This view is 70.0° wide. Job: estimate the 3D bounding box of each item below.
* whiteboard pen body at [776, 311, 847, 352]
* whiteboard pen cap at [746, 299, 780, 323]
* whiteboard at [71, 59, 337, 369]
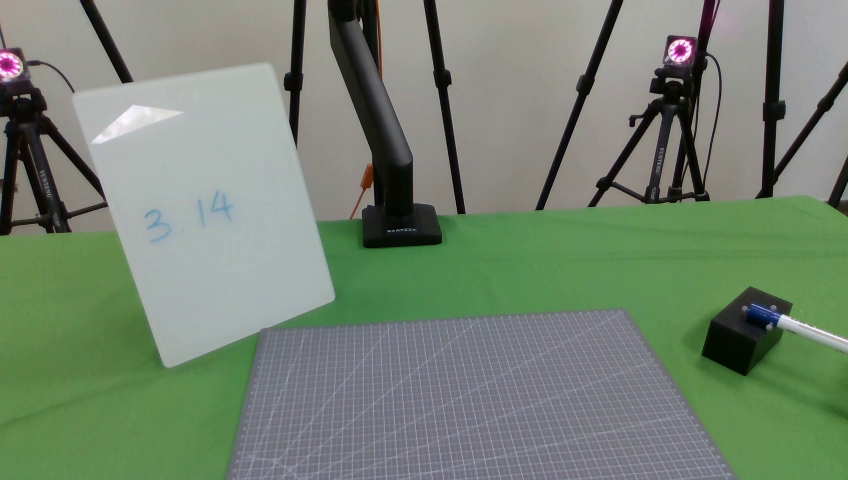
[{"bbox_3d":[0.412,0.097,0.624,0.139,0.017,0.017,25,38,37],"label":"whiteboard pen body"},{"bbox_3d":[0.369,0.078,0.658,0.033,0.018,0.018,27,39,34],"label":"whiteboard pen cap"},{"bbox_3d":[-0.267,-0.040,0.739,0.218,0.307,0.143,-22,17,-32],"label":"whiteboard"}]
